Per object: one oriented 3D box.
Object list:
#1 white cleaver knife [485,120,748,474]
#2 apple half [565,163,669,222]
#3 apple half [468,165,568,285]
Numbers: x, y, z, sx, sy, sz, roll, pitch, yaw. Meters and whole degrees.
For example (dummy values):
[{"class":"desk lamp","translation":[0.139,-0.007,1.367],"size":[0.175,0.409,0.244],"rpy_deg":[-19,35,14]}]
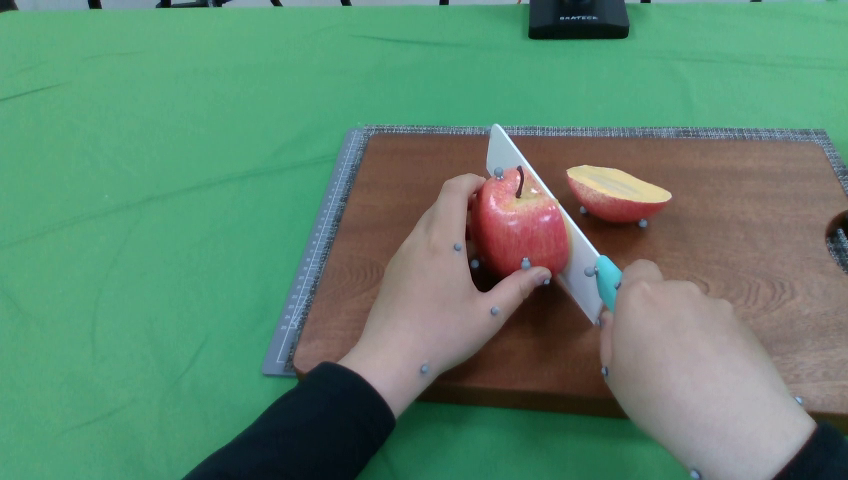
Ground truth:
[{"class":"white cleaver knife","translation":[0.107,0.020,0.398],"size":[0.021,0.066,0.283],"rpy_deg":[-20,51,-10]},{"class":"apple half","translation":[0.140,-0.031,0.463],"size":[0.081,0.033,0.080],"rpy_deg":[10,26,-4]},{"class":"apple half","translation":[0.059,-0.005,0.422],"size":[0.053,0.075,0.080],"rpy_deg":[-21,50,-8]}]
